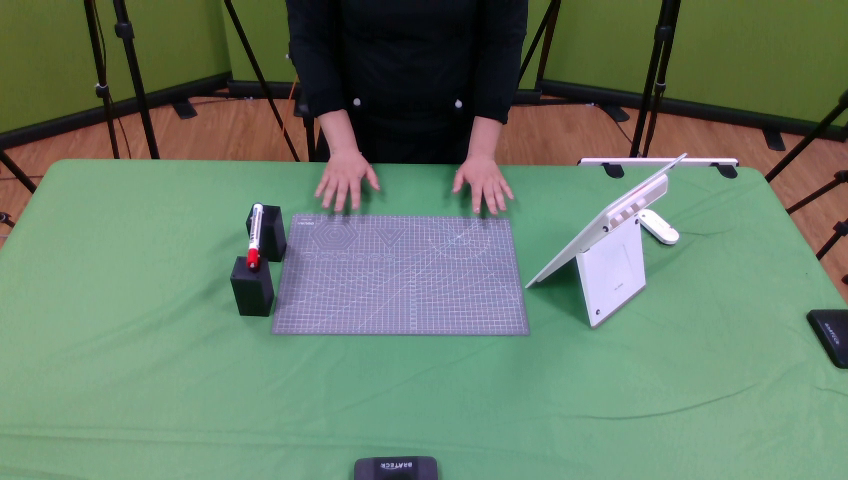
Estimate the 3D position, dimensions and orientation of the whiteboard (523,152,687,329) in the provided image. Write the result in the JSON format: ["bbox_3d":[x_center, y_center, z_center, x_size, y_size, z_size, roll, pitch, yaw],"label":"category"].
[{"bbox_3d":[0.346,0.025,1.046,0.217,0.306,0.143,-30,74,-29],"label":"whiteboard"}]

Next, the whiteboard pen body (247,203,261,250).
[{"bbox_3d":[-0.295,-0.014,1.052,0.017,0.017,0.139,-2,45,-7],"label":"whiteboard pen body"}]

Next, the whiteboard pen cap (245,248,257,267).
[{"bbox_3d":[-0.288,0.028,1.010,0.017,0.017,0.032,-2,44,-6],"label":"whiteboard pen cap"}]

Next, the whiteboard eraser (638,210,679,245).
[{"bbox_3d":[0.485,-0.027,1.260,0.041,0.019,0.100,-21,50,-21],"label":"whiteboard eraser"}]
